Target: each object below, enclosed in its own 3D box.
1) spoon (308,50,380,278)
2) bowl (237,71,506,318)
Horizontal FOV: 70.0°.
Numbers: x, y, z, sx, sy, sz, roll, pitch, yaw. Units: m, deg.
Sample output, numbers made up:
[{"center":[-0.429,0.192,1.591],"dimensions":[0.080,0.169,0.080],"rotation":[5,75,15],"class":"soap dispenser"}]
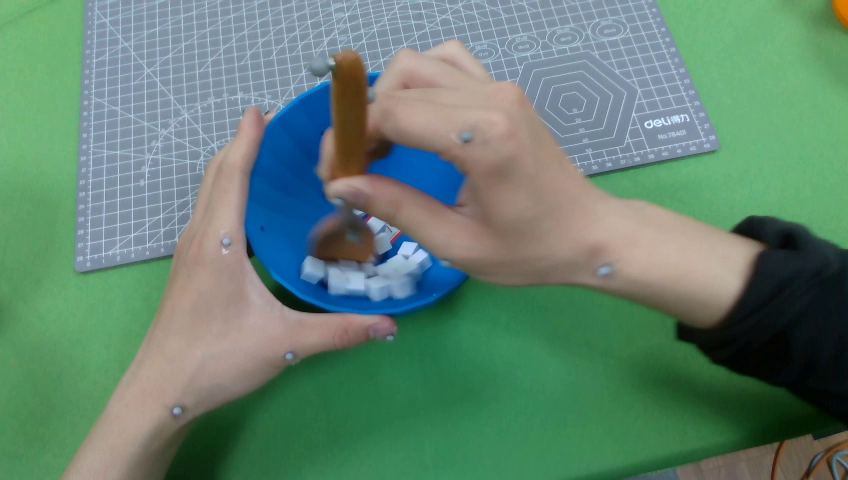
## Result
[{"center":[-0.035,-0.020,0.280],"dimensions":[0.042,0.194,0.021],"rotation":[-6,71,-11],"class":"spoon"},{"center":[-0.028,-0.018,0.373],"dimensions":[0.151,0.077,0.150],"rotation":[-1,70,3],"class":"bowl"}]
